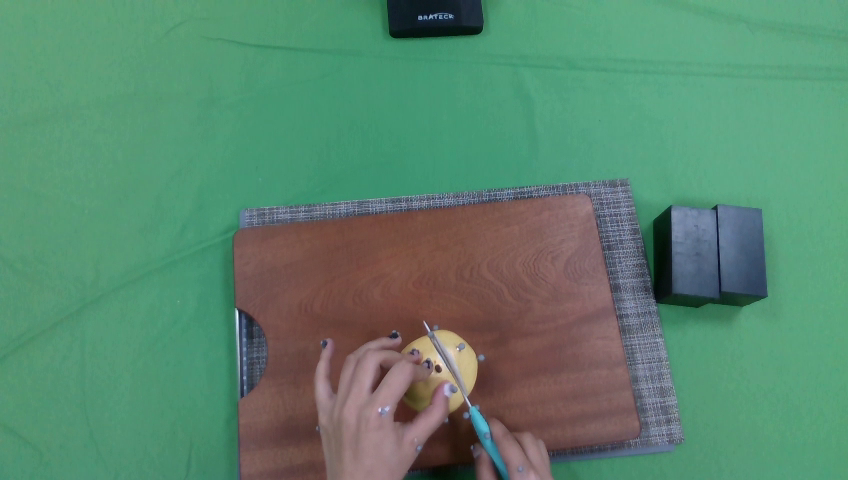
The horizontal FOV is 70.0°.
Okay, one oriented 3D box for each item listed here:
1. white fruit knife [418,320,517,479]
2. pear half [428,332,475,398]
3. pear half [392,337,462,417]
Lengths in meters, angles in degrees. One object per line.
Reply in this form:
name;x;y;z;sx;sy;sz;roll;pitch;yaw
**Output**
white fruit knife;0.045;0.168;0.579;0.016;0.027;0.207;-29;83;-11
pear half;0.031;0.115;0.586;0.031;0.088;0.070;-33;72;-17
pear half;-0.001;0.132;0.567;0.056;0.110;0.076;-35;74;-12
